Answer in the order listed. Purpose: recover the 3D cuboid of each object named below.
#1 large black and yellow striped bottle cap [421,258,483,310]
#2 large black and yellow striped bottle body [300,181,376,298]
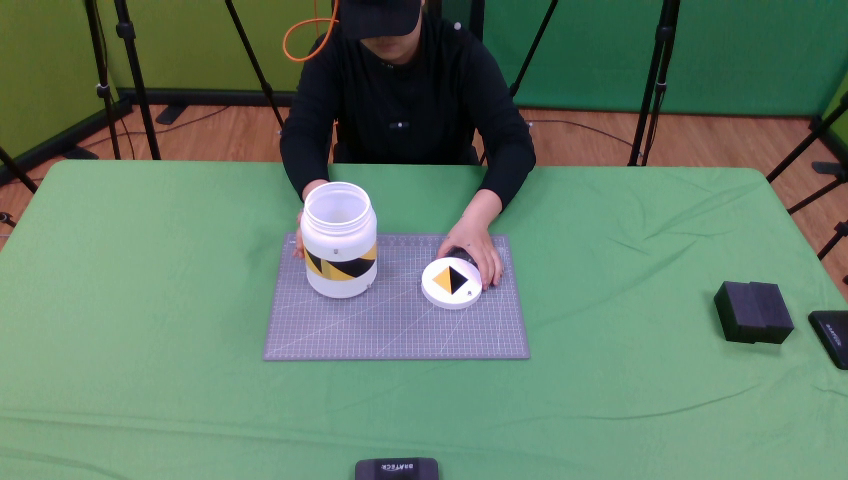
[{"bbox_3d":[0.052,0.081,1.126,0.115,0.019,0.114,1,46,-1],"label":"large black and yellow striped bottle cap"},{"bbox_3d":[-0.150,0.000,1.071,0.131,0.185,0.130,2,46,-2],"label":"large black and yellow striped bottle body"}]
